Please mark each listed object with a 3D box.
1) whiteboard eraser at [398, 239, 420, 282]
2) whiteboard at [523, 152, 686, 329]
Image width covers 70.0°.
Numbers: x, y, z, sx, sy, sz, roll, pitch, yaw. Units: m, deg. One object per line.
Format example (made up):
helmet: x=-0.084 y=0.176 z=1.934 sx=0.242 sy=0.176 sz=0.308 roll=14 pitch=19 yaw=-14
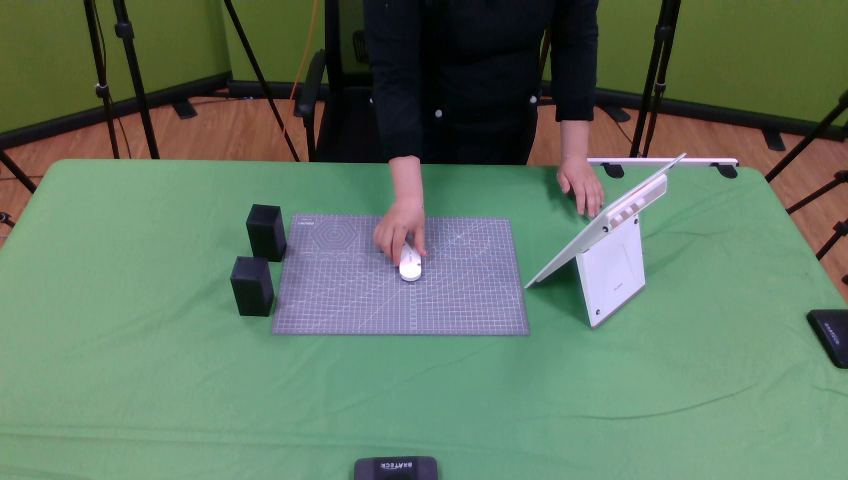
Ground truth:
whiteboard eraser: x=-0.029 y=0.039 z=1.156 sx=0.041 sy=0.019 sz=0.100 roll=0 pitch=45 yaw=-3
whiteboard: x=0.346 y=0.024 z=1.047 sx=0.217 sy=0.306 sz=0.143 roll=-30 pitch=74 yaw=-29
